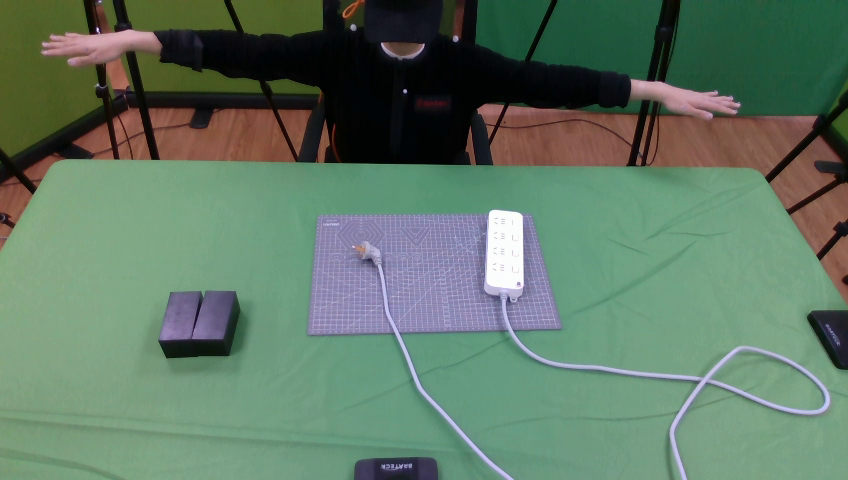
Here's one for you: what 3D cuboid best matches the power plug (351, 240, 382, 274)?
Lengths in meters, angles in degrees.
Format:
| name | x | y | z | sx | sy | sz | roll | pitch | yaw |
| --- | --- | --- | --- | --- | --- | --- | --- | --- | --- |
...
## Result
| name | x | y | z | sx | sy | sz | roll | pitch | yaw |
| --- | --- | --- | --- | --- | --- | --- | --- | --- | --- |
| power plug | -0.107 | 0.029 | 1.144 | 0.053 | 0.035 | 0.072 | 3 | 31 | -24 |

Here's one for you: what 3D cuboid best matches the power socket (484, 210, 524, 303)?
| name | x | y | z | sx | sy | sz | roll | pitch | yaw |
| --- | --- | --- | --- | --- | --- | --- | --- | --- | --- |
| power socket | 0.157 | 0.022 | 1.175 | 0.072 | 0.033 | 0.225 | 6 | 46 | 3 |
